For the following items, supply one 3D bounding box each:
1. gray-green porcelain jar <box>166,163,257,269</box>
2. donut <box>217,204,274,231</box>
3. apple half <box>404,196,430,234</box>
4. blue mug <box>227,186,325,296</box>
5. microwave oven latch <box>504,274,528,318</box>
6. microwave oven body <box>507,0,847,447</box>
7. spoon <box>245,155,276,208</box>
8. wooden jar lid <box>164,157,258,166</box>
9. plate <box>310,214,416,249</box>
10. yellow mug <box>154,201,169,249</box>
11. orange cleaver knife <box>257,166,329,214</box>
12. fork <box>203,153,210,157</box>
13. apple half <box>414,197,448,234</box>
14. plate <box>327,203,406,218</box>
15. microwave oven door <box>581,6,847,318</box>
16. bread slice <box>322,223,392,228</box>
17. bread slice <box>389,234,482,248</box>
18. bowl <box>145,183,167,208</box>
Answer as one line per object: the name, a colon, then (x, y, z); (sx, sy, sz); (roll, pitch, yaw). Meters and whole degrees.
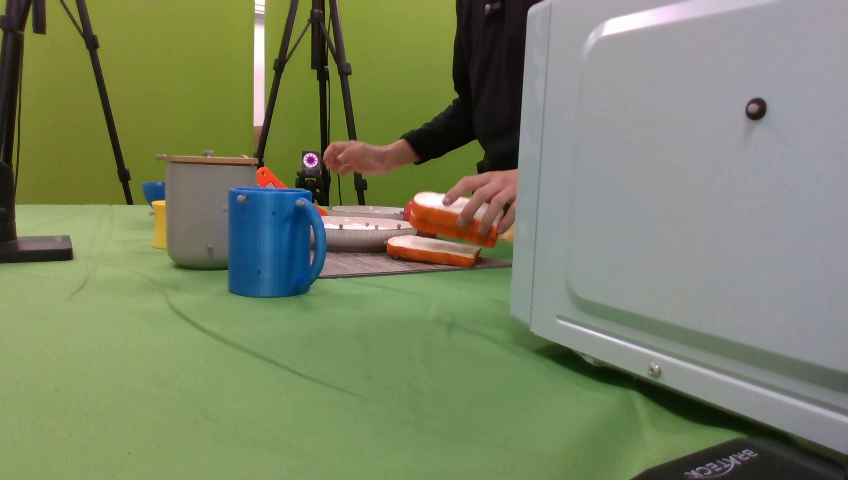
gray-green porcelain jar: (-0.263, -0.032, 0.754); (0.106, 0.126, 0.106); (2, 7, 0)
donut: (-0.318, -0.038, 1.080); (0.099, 0.048, 0.099); (3, 7, 0)
apple half: (-0.006, -0.047, 1.149); (0.081, 0.074, 0.053); (-7, 5, -40)
blue mug: (-0.147, 0.000, 0.618); (0.116, 0.106, 0.083); (7, 9, 32)
microwave oven latch: (0.100, 0.041, 0.471); (0.079, 0.029, 0.030); (-1, 8, -28)
microwave oven body: (0.331, -0.042, 0.425); (0.444, 0.260, 0.324); (-2, 8, -31)
spoon: (-0.421, -0.150, 1.540); (0.042, 0.021, 0.193); (-5, 55, -37)
wooden jar lid: (-0.261, -0.093, 0.746); (0.108, 0.020, 0.108); (0, 9, 0)
plate: (-0.116, -0.014, 0.967); (0.208, 0.039, 0.207); (2, 7, 0)
yellow mug: (-0.338, -0.022, 0.899); (0.130, 0.064, 0.100); (8, 9, 34)
orange cleaver knife: (-0.295, -0.086, 1.333); (0.012, 0.077, 0.212); (2, -24, 46)
fork: (-0.480, -0.135, 1.411); (0.028, 0.018, 0.207); (1, -34, 0)
apple half: (0.020, -0.044, 1.121); (0.082, 0.081, 0.032); (-5, 5, -39)
plate: (-0.102, -0.053, 1.299); (0.209, 0.038, 0.209); (2, 8, 0)
microwave oven door: (0.295, -0.067, 0.569); (0.358, 0.243, 0.039); (-3, 8, -31)
bread slice: (-0.116, -0.014, 0.974); (0.135, 0.018, 0.106); (-6, 11, -42)
bread slice: (0.016, 0.002, 0.873); (0.131, 0.019, 0.105); (1, -1, 2)
bowl: (-0.459, -0.069, 1.175); (0.151, 0.077, 0.151); (2, 7, 0)
